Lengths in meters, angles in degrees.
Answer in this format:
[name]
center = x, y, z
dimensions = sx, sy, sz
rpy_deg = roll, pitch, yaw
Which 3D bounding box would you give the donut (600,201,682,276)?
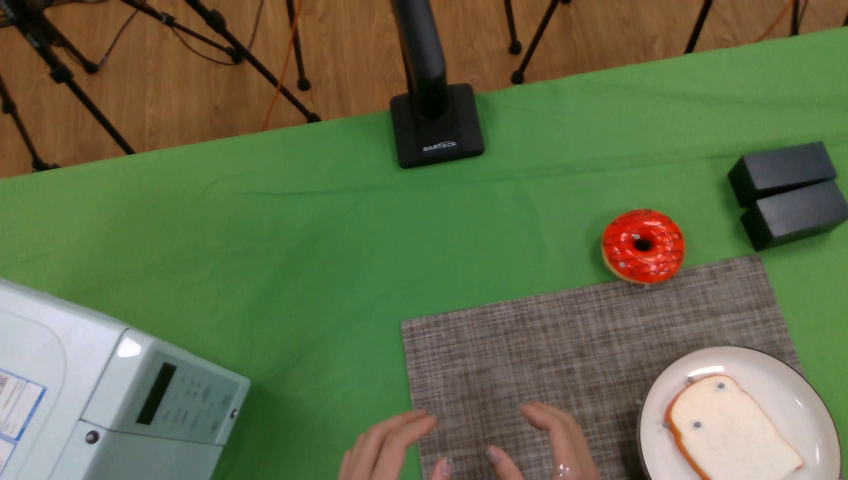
[donut]
center = 0.265, -0.002, 0.742
dimensions = 0.099, 0.048, 0.098
rpy_deg = -3, 67, 8

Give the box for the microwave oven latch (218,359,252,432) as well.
[microwave oven latch]
center = -0.228, 0.180, 0.704
dimensions = 0.030, 0.030, 0.079
rpy_deg = 18, 73, 11

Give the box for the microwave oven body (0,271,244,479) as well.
[microwave oven body]
center = -0.433, 0.266, 0.587
dimensions = 0.325, 0.262, 0.439
rpy_deg = 16, 73, 10

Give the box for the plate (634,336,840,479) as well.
[plate]
center = 0.333, 0.211, 0.659
dimensions = 0.207, 0.039, 0.206
rpy_deg = -1, 70, 4

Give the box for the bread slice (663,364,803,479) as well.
[bread slice]
center = 0.330, 0.205, 0.663
dimensions = 0.105, 0.019, 0.130
rpy_deg = -31, 71, -7

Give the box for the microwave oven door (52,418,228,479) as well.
[microwave oven door]
center = -0.308, 0.341, 0.544
dimensions = 0.039, 0.245, 0.354
rpy_deg = 16, 72, 11
